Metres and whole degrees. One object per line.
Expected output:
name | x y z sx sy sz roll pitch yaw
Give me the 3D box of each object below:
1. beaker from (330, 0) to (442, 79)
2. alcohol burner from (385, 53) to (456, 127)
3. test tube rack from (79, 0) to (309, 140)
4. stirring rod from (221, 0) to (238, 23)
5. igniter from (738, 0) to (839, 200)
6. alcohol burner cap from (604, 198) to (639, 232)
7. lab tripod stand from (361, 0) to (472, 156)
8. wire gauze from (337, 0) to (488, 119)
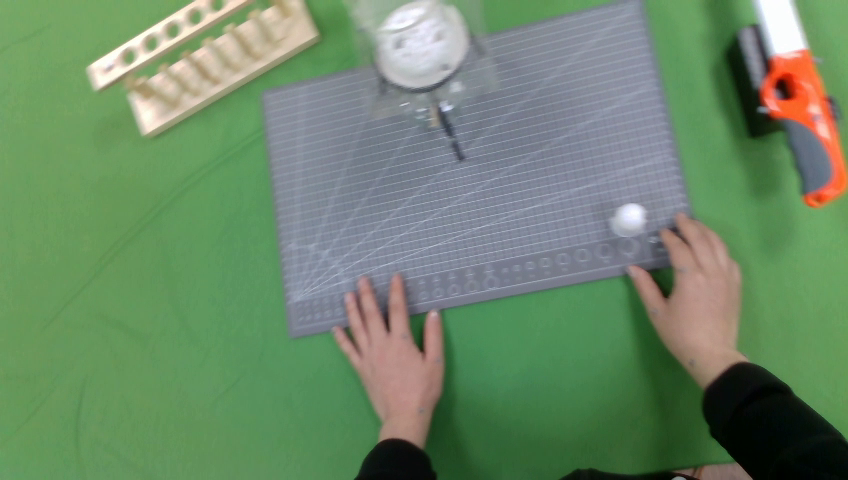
beaker | -0.028 -0.188 0.518 0.084 0.101 0.074 1 82 11
alcohol burner | -0.006 -0.164 0.638 0.078 0.119 0.077 -1 80 9
test tube rack | -0.267 -0.216 0.712 0.242 0.085 0.066 -29 77 5
stirring rod | -0.236 -0.288 0.637 0.006 0.177 0.014 -28 71 -1
igniter | 0.334 -0.171 0.574 0.057 0.025 0.275 -13 77 11
alcohol burner cap | 0.203 -0.027 0.616 0.034 0.048 0.033 -2 80 10
lab tripod stand | -0.001 -0.170 0.628 0.148 0.132 0.148 -1 82 9
wire gauze | -0.013 -0.182 0.564 0.125 0.011 0.121 -12 83 6
